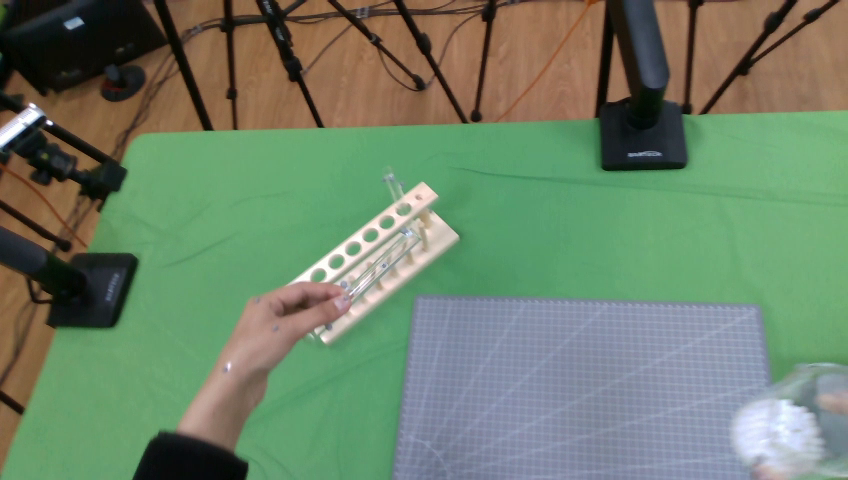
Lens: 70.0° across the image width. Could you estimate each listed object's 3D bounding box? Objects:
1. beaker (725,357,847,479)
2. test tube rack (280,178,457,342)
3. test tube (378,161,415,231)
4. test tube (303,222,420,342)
[{"bbox_3d":[0.268,0.137,0.441,0.084,0.101,0.073,-20,63,-4],"label":"beaker"},{"bbox_3d":[-0.071,0.027,0.839,0.242,0.086,0.066,-39,62,-12],"label":"test tube rack"},{"bbox_3d":[-0.035,-0.055,0.820,0.017,0.152,0.017,-6,58,10],"label":"test tube"},{"bbox_3d":[-0.059,0.040,0.555,0.150,0.017,0.017,-45,62,10],"label":"test tube"}]
